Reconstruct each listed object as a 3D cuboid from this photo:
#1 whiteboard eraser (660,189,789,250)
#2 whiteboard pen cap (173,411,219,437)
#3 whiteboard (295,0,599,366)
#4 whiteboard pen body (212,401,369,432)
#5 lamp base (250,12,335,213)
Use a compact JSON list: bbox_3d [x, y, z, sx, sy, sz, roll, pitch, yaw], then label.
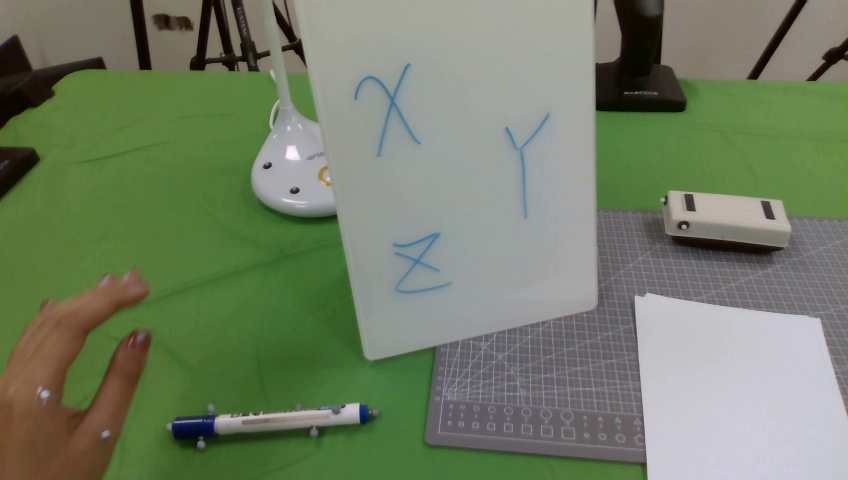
[{"bbox_3d":[0.298,-0.020,0.609,0.112,0.042,0.055,7,43,10],"label":"whiteboard eraser"},{"bbox_3d":[-0.175,0.141,0.468,0.033,0.018,0.018,-5,41,-2],"label":"whiteboard pen cap"},{"bbox_3d":[0.022,-0.078,0.534,0.217,0.307,0.142,-11,23,-9],"label":"whiteboard"},{"bbox_3d":[-0.114,0.138,0.471,0.141,0.017,0.017,-4,41,-1],"label":"whiteboard pen body"},{"bbox_3d":[-0.134,-0.147,0.669,0.160,0.182,0.177,-32,47,-29],"label":"lamp base"}]
